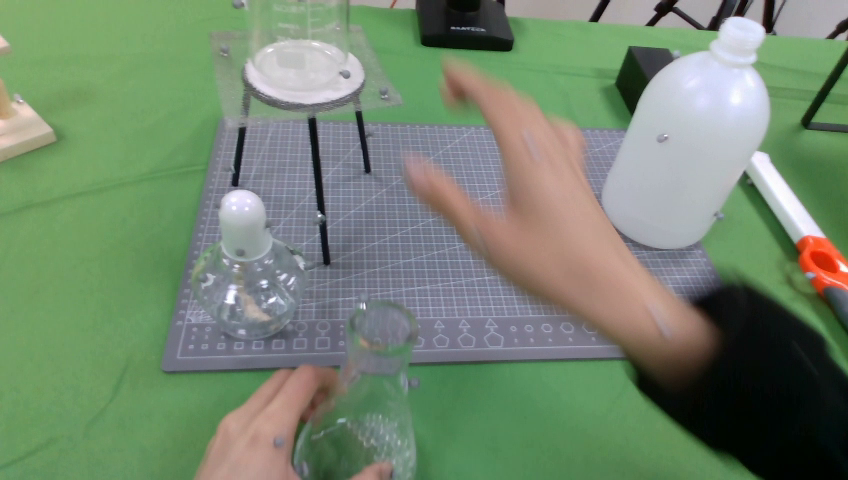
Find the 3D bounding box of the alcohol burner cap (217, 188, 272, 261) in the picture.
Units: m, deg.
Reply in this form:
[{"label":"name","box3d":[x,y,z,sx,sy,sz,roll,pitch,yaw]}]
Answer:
[{"label":"alcohol burner cap","box3d":[-0.116,-0.012,0.388,0.034,0.048,0.033,4,52,-4]}]

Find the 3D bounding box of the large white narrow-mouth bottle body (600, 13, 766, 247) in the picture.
[{"label":"large white narrow-mouth bottle body","box3d":[0.222,-0.092,0.509,0.102,0.196,0.101,4,46,-4]}]

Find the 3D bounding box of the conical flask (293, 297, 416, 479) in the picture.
[{"label":"conical flask","box3d":[-0.033,0.089,0.344,0.075,0.123,0.074,9,35,-6]}]

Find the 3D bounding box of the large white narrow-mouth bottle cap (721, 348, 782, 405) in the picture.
[{"label":"large white narrow-mouth bottle cap","box3d":[0.244,0.102,0.452,0.038,0.024,0.037,4,46,-4]}]

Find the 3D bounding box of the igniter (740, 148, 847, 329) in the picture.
[{"label":"igniter","box3d":[0.357,0.007,0.556,0.057,0.025,0.273,9,45,-15]}]

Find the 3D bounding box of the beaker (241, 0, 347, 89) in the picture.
[{"label":"beaker","box3d":[-0.091,-0.162,0.413,0.084,0.101,0.073,-5,48,-12]}]

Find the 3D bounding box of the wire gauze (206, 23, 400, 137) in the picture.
[{"label":"wire gauze","box3d":[-0.092,-0.126,0.447,0.122,0.011,0.123,-11,53,-17]}]

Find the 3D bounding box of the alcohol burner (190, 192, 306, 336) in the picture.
[{"label":"alcohol burner","box3d":[-0.121,0.012,0.415,0.078,0.120,0.077,6,44,-5]}]

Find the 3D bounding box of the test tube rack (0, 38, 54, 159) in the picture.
[{"label":"test tube rack","box3d":[-0.447,-0.085,0.481,0.066,0.086,0.242,37,52,25]}]

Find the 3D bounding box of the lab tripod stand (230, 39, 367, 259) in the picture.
[{"label":"lab tripod stand","box3d":[-0.095,-0.079,0.492,0.148,0.132,0.147,6,46,-6]}]
